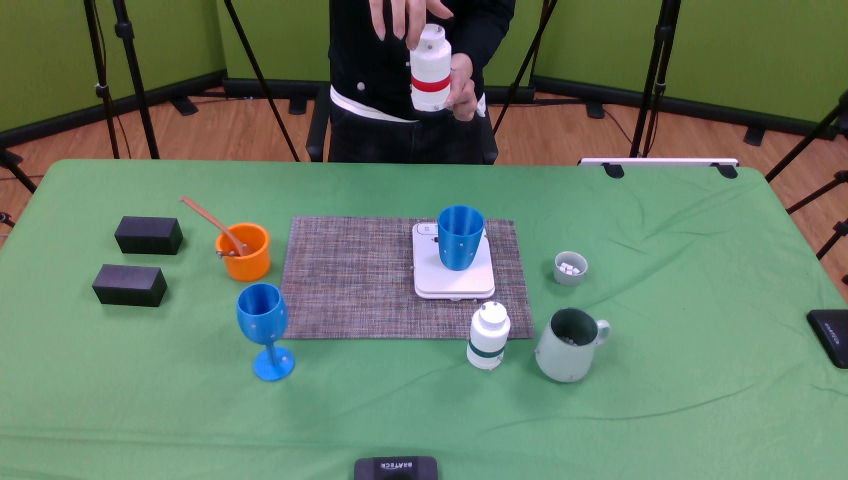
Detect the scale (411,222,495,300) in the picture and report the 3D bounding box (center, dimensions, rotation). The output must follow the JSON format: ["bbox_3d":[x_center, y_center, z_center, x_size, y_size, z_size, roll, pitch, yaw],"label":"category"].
[{"bbox_3d":[0.052,0.031,1.158,0.149,0.032,0.199,1,46,-4],"label":"scale"}]

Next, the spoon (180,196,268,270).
[{"bbox_3d":[-0.360,-0.014,1.094,0.021,0.194,0.041,-27,26,31],"label":"spoon"}]

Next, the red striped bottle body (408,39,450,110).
[{"bbox_3d":[0.009,-0.265,0.931,0.063,0.120,0.062,-1,50,1],"label":"red striped bottle body"}]

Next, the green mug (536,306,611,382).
[{"bbox_3d":[0.250,0.167,0.996,0.125,0.105,0.092,-15,49,-19],"label":"green mug"}]

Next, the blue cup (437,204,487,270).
[{"bbox_3d":[0.063,0.001,1.098,0.093,0.101,0.092,2,43,-2],"label":"blue cup"}]

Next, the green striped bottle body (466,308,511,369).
[{"bbox_3d":[0.106,0.154,0.988,0.063,0.120,0.063,2,46,-2],"label":"green striped bottle body"}]

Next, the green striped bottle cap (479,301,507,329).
[{"bbox_3d":[0.109,0.118,0.950,0.044,0.020,0.044,2,47,-2],"label":"green striped bottle cap"}]

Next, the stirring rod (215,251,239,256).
[{"bbox_3d":[-0.339,0.024,1.059,0.014,0.176,0.006,15,86,-6],"label":"stirring rod"}]

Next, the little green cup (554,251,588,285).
[{"bbox_3d":[0.277,0.055,1.151,0.061,0.039,0.061,1,46,-1],"label":"little green cup"}]

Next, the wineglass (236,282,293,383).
[{"bbox_3d":[-0.243,0.143,0.934,0.074,0.173,0.073,2,46,-2],"label":"wineglass"}]

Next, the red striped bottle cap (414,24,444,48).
[{"bbox_3d":[0.008,-0.300,0.889,0.044,0.018,0.044,0,47,0],"label":"red striped bottle cap"}]
